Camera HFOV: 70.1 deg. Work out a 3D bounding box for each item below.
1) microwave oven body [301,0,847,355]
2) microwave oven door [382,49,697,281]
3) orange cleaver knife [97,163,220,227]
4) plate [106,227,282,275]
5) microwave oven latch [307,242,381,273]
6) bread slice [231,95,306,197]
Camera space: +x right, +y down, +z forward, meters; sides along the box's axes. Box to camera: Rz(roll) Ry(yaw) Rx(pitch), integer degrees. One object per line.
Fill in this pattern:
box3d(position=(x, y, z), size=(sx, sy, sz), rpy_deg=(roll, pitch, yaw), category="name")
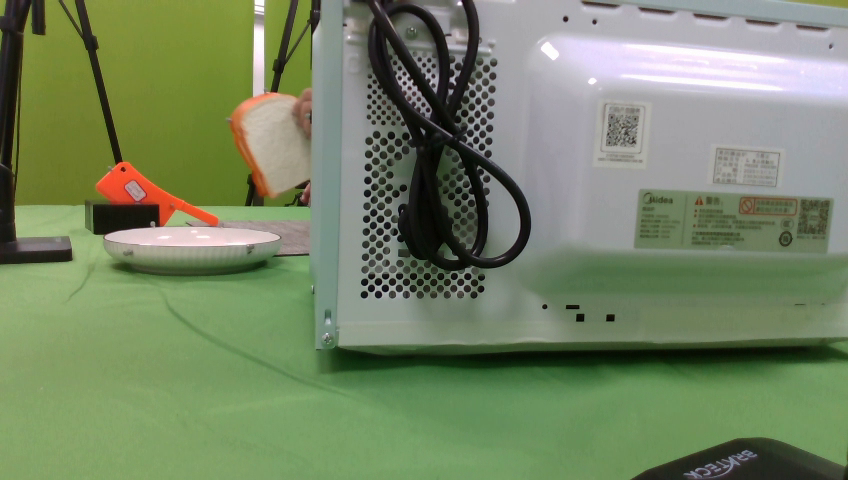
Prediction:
box3d(position=(0.120, -0.053, 0.535), size=(0.443, 0.260, 0.325), rpy_deg=(2, 7, -11), category="microwave oven body")
box3d(position=(0.135, -0.077, 0.685), size=(0.357, 0.243, 0.039), rpy_deg=(1, 8, -12), category="microwave oven door")
box3d(position=(-0.472, -0.062, 1.087), size=(0.212, 0.077, 0.012), rpy_deg=(33, -14, -36), category="orange cleaver knife")
box3d(position=(-0.288, 0.013, 0.772), size=(0.208, 0.039, 0.207), rpy_deg=(2, 7, 0), category="plate")
box3d(position=(-0.086, 0.019, 0.656), size=(0.079, 0.029, 0.030), rpy_deg=(2, 7, -10), category="microwave oven latch")
box3d(position=(-0.220, -0.145, 0.897), size=(0.107, 0.134, 0.018), rpy_deg=(-30, 28, -25), category="bread slice")
